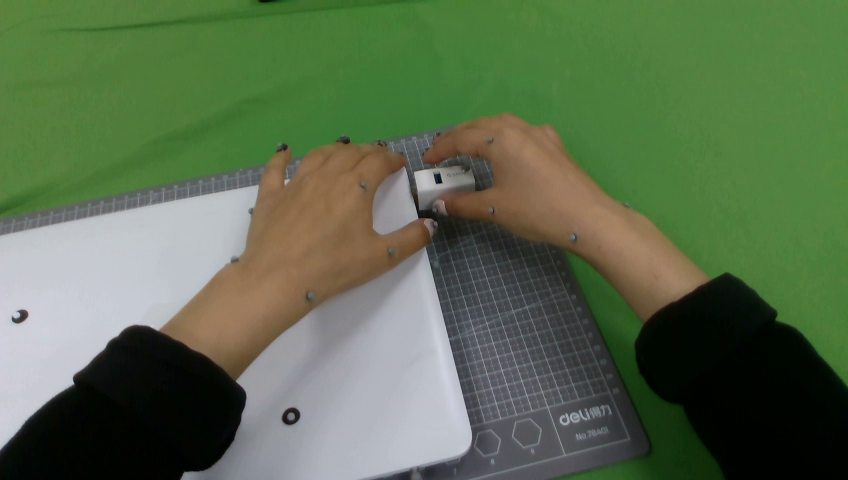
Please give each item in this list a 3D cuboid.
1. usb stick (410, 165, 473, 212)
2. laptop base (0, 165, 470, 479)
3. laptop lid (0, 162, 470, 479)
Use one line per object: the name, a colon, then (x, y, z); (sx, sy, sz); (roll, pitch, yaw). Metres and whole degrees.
usb stick: (0.006, -0.038, 0.457); (0.059, 0.027, 0.021); (-12, 57, -2)
laptop base: (-0.166, 0.070, 0.407); (0.355, 0.023, 0.233); (-11, 58, -5)
laptop lid: (-0.166, 0.065, 0.396); (0.357, 0.013, 0.239); (-10, 57, -3)
